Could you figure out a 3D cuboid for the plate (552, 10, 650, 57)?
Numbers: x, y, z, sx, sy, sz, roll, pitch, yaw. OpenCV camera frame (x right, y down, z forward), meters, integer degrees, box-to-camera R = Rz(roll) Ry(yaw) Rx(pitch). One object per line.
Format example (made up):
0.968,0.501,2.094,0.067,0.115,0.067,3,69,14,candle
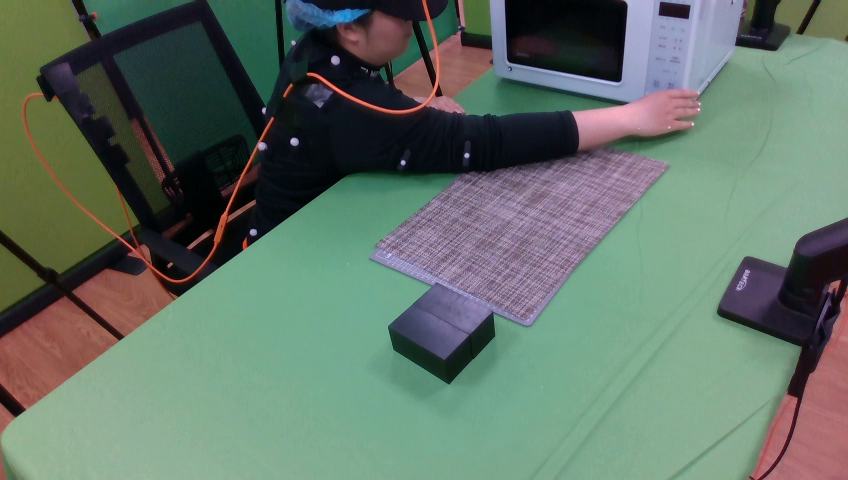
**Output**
0.390,-0.454,1.339,0.209,0.038,0.208,-5,39,5,plate

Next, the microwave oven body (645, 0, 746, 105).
0.417,-0.486,1.290,0.438,0.261,0.327,21,50,33,microwave oven body

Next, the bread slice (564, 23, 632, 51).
0.394,-0.453,1.344,0.105,0.019,0.130,-36,42,-26,bread slice

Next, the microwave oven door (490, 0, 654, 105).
0.293,-0.420,1.228,0.353,0.245,0.039,22,50,32,microwave oven door

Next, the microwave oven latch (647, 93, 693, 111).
0.477,-0.273,1.177,0.078,0.029,0.030,22,50,33,microwave oven latch
